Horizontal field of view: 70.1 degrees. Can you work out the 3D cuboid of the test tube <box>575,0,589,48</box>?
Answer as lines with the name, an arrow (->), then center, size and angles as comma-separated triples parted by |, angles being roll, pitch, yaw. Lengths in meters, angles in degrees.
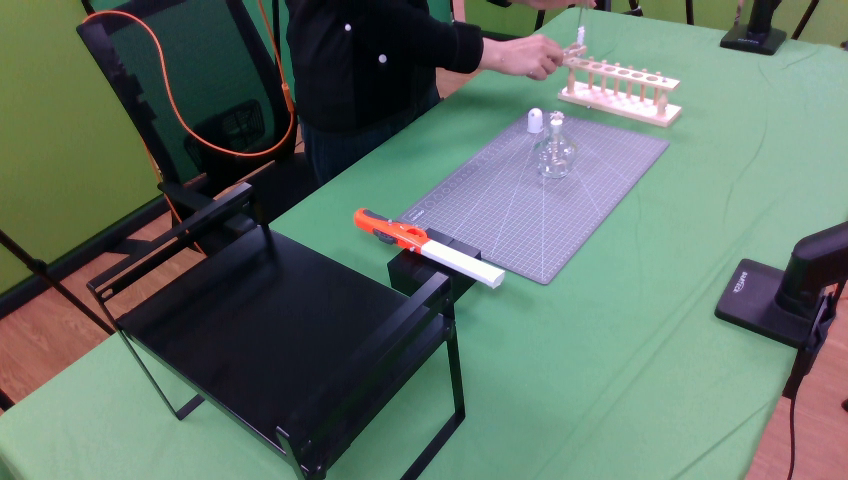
test tube -> 0.305, -0.440, 1.159 | 0.017, 0.151, 0.017 | -2, 44, 2

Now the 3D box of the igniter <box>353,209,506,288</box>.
igniter -> -0.003, 0.006, 0.892 | 0.274, 0.025, 0.057 | 24, 37, 31

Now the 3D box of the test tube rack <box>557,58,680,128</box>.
test tube rack -> 0.395, -0.309, 1.230 | 0.240, 0.085, 0.067 | 25, 50, 33

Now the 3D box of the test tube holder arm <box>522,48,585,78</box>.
test tube holder arm -> 0.253, -0.346, 1.176 | 0.179, 0.015, 0.013 | -29, 46, -32

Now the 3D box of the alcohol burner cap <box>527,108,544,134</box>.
alcohol burner cap -> 0.222, -0.238, 1.203 | 0.034, 0.048, 0.033 | -5, 41, 5

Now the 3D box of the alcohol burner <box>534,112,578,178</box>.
alcohol burner -> 0.232, -0.170, 1.065 | 0.078, 0.119, 0.077 | -6, 39, 5

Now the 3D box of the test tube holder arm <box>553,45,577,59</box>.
test tube holder arm -> 0.281, -0.368, 1.204 | 0.010, 0.015, 0.088 | 26, 45, 29
